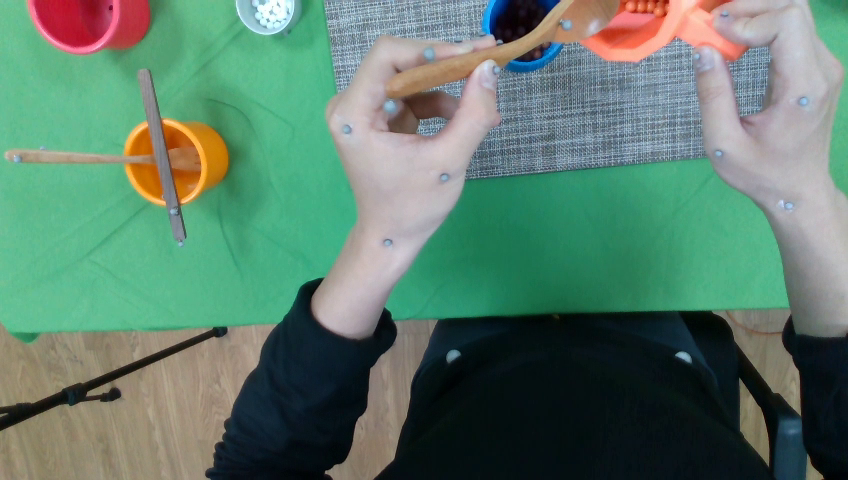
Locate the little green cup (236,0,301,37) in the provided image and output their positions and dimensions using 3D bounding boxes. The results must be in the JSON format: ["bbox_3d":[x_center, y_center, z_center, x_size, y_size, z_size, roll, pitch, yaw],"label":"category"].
[{"bbox_3d":[-0.158,-0.241,0.628,0.061,0.038,0.062,2,106,7],"label":"little green cup"}]

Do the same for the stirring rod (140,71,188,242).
[{"bbox_3d":[-0.267,-0.083,0.624,0.014,0.006,0.177,-4,104,9],"label":"stirring rod"}]

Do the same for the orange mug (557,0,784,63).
[{"bbox_3d":[0.161,-0.163,0.392,0.125,0.101,0.084,45,149,22],"label":"orange mug"}]

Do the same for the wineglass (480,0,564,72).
[{"bbox_3d":[0.087,-0.186,0.542,0.073,0.171,0.074,2,105,7],"label":"wineglass"}]

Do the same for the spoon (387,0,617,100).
[{"bbox_3d":[0.052,-0.109,0.335,0.021,0.193,0.042,44,141,14],"label":"spoon"}]

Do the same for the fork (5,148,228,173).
[{"bbox_3d":[-0.310,-0.083,0.631,0.208,0.018,0.028,-4,117,-37],"label":"fork"}]
